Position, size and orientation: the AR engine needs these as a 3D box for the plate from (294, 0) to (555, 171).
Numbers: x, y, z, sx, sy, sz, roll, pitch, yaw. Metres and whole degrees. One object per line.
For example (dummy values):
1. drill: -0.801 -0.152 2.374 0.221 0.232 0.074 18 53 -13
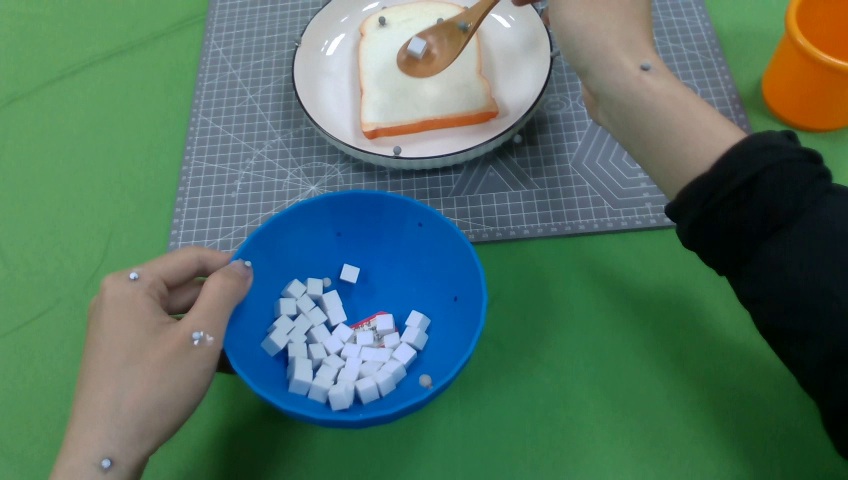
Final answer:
1. plate: -0.001 -0.140 0.497 0.209 0.038 0.207 -2 62 5

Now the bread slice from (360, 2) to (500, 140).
1. bread slice: -0.004 -0.143 0.502 0.107 0.018 0.133 -11 63 0

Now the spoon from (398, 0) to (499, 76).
1. spoon: 0.060 -0.173 0.414 0.193 0.022 0.041 -30 62 29

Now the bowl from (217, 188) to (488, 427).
1. bowl: -0.040 0.050 0.368 0.151 0.077 0.150 1 54 -1
